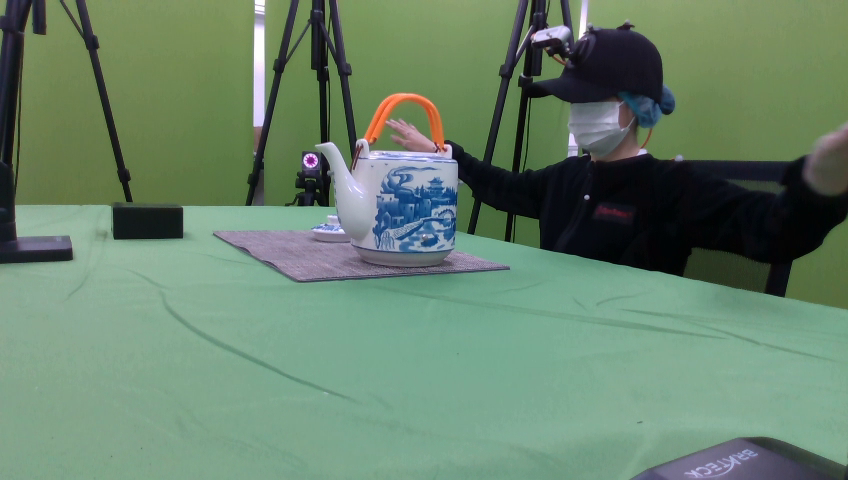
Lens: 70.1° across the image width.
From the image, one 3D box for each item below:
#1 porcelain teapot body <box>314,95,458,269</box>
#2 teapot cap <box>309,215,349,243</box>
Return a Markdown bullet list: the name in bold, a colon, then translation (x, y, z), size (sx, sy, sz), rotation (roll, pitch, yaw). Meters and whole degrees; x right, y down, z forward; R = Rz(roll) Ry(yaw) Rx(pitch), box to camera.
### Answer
- **porcelain teapot body**: translation (-0.049, -0.079, 0.800), size (0.206, 0.225, 0.144), rotation (-3, 9, -37)
- **teapot cap**: translation (-0.151, -0.020, 1.014), size (0.085, 0.044, 0.085), rotation (3, 10, 0)
